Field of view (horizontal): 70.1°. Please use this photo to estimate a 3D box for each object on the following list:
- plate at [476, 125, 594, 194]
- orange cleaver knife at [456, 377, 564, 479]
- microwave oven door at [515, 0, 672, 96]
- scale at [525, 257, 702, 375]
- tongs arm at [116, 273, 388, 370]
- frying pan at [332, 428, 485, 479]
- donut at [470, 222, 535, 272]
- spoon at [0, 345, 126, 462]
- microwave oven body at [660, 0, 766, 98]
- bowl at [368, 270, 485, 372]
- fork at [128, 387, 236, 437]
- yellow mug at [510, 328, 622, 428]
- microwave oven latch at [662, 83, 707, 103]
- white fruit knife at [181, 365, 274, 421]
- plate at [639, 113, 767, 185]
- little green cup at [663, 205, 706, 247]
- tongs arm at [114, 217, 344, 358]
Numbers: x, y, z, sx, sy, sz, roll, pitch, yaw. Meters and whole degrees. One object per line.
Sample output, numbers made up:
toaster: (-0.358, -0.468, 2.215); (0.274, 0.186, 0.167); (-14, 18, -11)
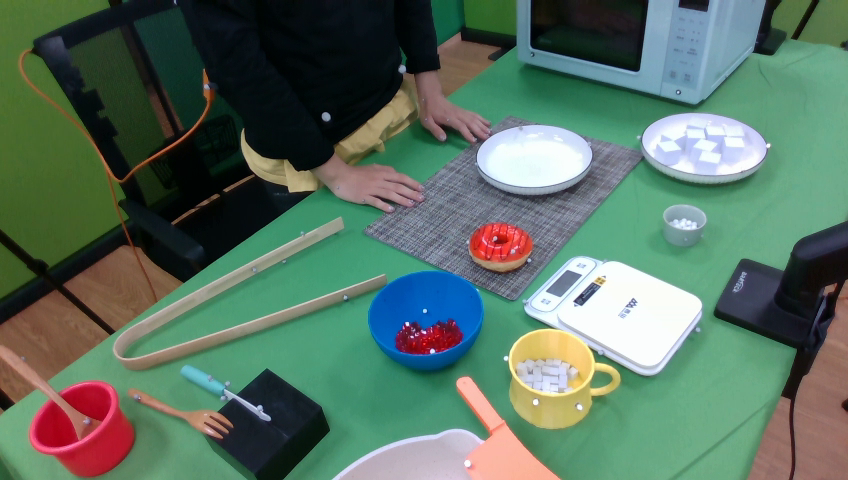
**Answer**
plate: (0.199, -0.141, 1.093); (0.209, 0.038, 0.208); (-4, 39, 4)
orange cleaver knife: (0.081, 0.220, 0.611); (0.077, 0.012, 0.209); (-26, 43, -22)
microwave oven door: (0.343, -0.454, 1.259); (0.353, 0.245, 0.039); (26, 51, 33)
scale: (0.254, 0.091, 0.821); (0.199, 0.032, 0.149); (28, 51, 35)
tongs arm: (-0.236, 0.115, 0.870); (0.389, 0.028, 0.028); (-18, 49, -13)
frying pan: (-0.089, 0.306, 0.564); (0.487, 0.103, 0.306); (10, 41, 7)
donut: (0.119, 0.009, 0.923); (0.099, 0.048, 0.098); (-4, 38, 3)
spoon: (-0.434, 0.192, 0.720); (0.194, 0.021, 0.042); (47, 53, -7)
microwave oven body: (0.472, -0.513, 1.317); (0.438, 0.261, 0.327); (26, 51, 34)
bowl: (0.007, 0.118, 0.791); (0.151, 0.077, 0.150); (-4, 40, 4)
fork: (-0.305, 0.207, 0.744); (0.206, 0.019, 0.028); (3, 41, 36)
yellow mug: (0.169, 0.164, 0.722); (0.130, 0.064, 0.099); (0, 40, 8)
microwave oven latch: (0.517, -0.296, 1.204); (0.078, 0.029, 0.030); (27, 52, 35)
white fruit knife: (-0.245, 0.187, 0.747); (0.205, 0.027, 0.016); (9, 41, 40)
plate: (0.489, -0.157, 1.074); (0.207, 0.039, 0.206); (-4, 40, 4)
little green cup: (0.396, -0.020, 0.926); (0.061, 0.039, 0.061); (-4, 40, 4)
tongs arm: (-0.280, 0.067, 0.926); (0.386, 0.026, 0.050); (-29, 49, -23)
